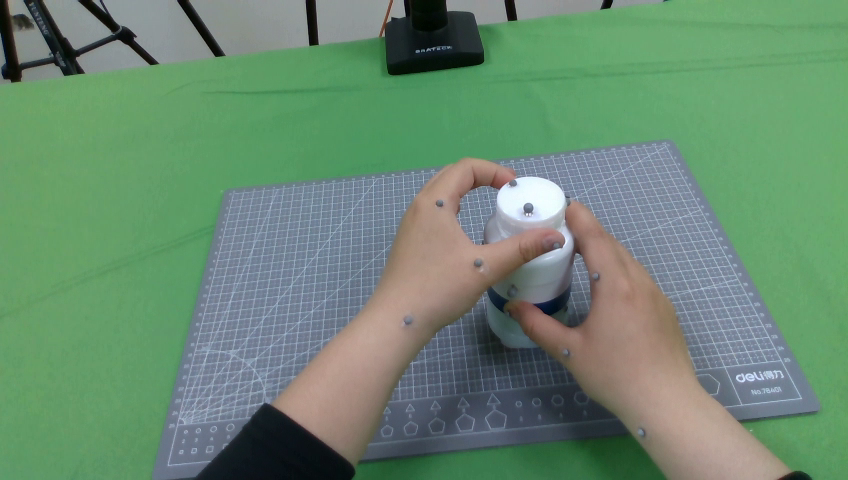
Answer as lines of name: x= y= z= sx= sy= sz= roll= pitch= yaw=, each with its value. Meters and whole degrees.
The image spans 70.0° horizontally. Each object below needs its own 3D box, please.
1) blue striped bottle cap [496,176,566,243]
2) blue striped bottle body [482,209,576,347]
blue striped bottle cap: x=0.068 y=-0.021 z=0.388 sx=0.044 sy=0.021 sz=0.044 roll=-4 pitch=48 yaw=5
blue striped bottle body: x=0.074 y=0.018 z=0.428 sx=0.063 sy=0.122 sz=0.062 roll=-4 pitch=46 yaw=4
